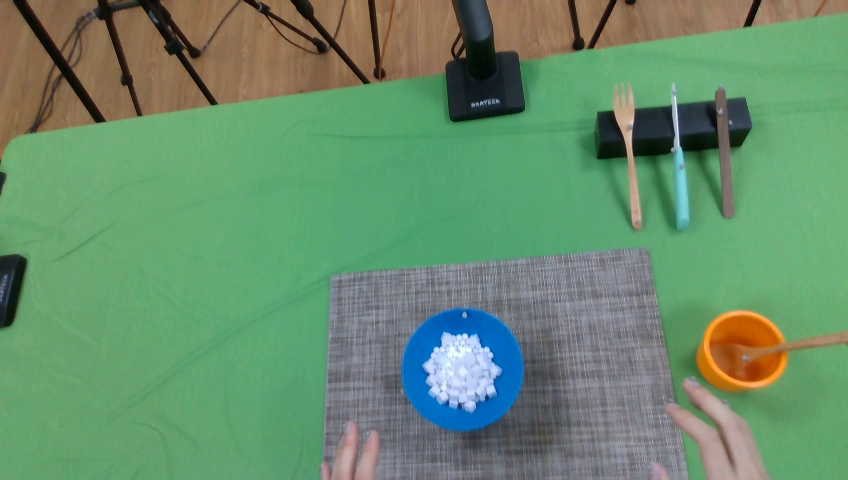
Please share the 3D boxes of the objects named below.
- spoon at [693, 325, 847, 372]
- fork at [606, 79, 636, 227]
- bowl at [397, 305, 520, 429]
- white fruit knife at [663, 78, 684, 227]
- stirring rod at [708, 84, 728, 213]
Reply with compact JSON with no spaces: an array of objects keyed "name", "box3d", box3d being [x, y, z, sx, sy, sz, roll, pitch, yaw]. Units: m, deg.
[{"name":"spoon","box3d":[0.401,0.119,0.691,0.022,0.193,0.041,15,63,-32]},{"name":"fork","box3d":[0.279,-0.121,0.845,0.028,0.018,0.207,-7,87,4]},{"name":"bowl","box3d":[0.047,0.165,0.767,0.151,0.077,0.150,-4,67,9]},{"name":"white fruit knife","box3d":[0.340,-0.123,0.834,0.016,0.027,0.207,-3,84,5]},{"name":"stirring rod","box3d":[0.402,-0.124,0.828,0.014,0.006,0.176,-5,93,15]}]
